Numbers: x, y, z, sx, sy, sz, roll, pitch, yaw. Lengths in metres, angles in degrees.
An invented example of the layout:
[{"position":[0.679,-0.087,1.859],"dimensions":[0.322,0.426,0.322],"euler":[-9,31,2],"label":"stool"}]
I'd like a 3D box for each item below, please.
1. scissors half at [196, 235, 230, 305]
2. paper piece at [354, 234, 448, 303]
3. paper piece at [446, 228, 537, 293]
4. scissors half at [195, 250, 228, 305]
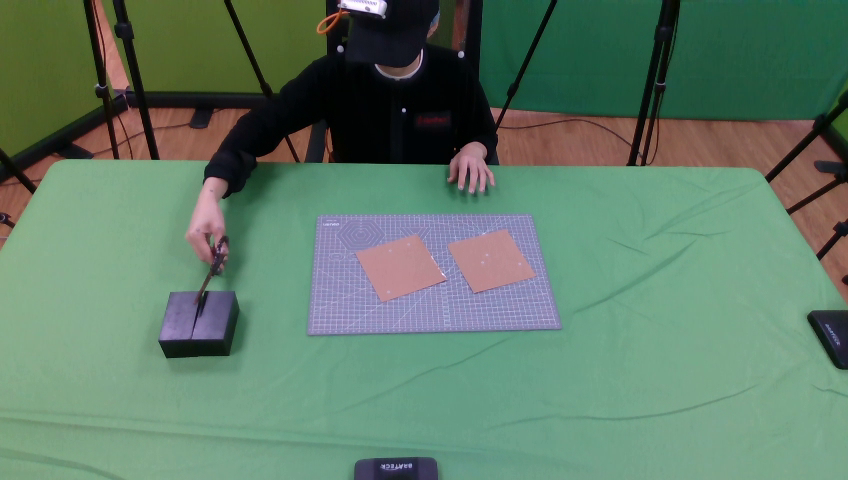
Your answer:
[{"position":[-0.368,0.050,1.056],"dimensions":[0.013,0.040,0.174],"euler":[16,40,-10],"label":"scissors half"},{"position":[-0.045,0.049,1.153],"dimensions":[0.138,0.009,0.135],"euler":[-17,46,-18],"label":"paper piece"},{"position":[0.130,0.037,1.177],"dimensions":[0.136,0.004,0.134],"euler":[-14,49,-16],"label":"paper piece"},{"position":[-0.374,0.066,1.067],"dimensions":[0.013,0.040,0.174],"euler":[12,25,-6],"label":"scissors half"}]
